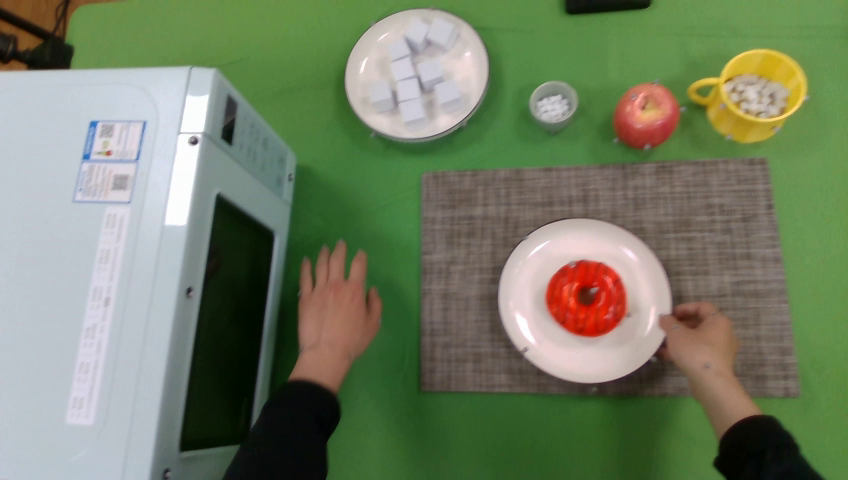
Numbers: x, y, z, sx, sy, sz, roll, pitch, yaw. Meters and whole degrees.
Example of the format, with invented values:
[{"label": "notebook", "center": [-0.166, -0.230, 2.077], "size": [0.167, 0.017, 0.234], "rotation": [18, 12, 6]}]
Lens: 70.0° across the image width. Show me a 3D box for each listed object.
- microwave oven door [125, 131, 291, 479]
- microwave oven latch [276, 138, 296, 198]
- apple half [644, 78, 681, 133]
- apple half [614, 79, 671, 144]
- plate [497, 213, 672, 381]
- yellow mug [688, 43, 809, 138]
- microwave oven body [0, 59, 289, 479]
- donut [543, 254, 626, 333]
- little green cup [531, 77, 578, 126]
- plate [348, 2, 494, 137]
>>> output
[{"label": "microwave oven door", "center": [-0.231, 0.087, 0.693], "size": [0.039, 0.245, 0.354], "rotation": [1, 76, 10]}, {"label": "microwave oven latch", "center": [-0.197, -0.100, 0.840], "size": [0.030, 0.030, 0.079], "rotation": [3, 77, 9]}, {"label": "apple half", "center": [0.309, -0.176, 0.781], "size": [0.033, 0.082, 0.081], "rotation": [-28, 73, 6]}, {"label": "apple half", "center": [0.274, -0.158, 0.783], "size": [0.053, 0.075, 0.080], "rotation": [-28, 77, 6]}, {"label": "plate", "center": [0.195, 0.069, 0.753], "size": [0.209, 0.038, 0.208], "rotation": [-2, 76, 9]}, {"label": "yellow mug", "center": [0.407, -0.191, 0.773], "size": [0.130, 0.064, 0.099], "rotation": [9, 78, 12]}, {"label": "microwave oven body", "center": [-0.371, 0.044, 0.731], "size": [0.325, 0.262, 0.439], "rotation": [2, 77, 9]}, {"label": "donut", "center": [0.196, 0.065, 0.741], "size": [0.099, 0.048, 0.098], "rotation": [-2, 78, 10]}, {"label": "little green cup", "center": [0.177, -0.186, 0.823], "size": [0.061, 0.039, 0.061], "rotation": [-2, 75, 9]}, {"label": "plate", "center": [-0.004, -0.239, 0.864], "size": [0.207, 0.039, 0.206], "rotation": [-2, 76, 8]}]
